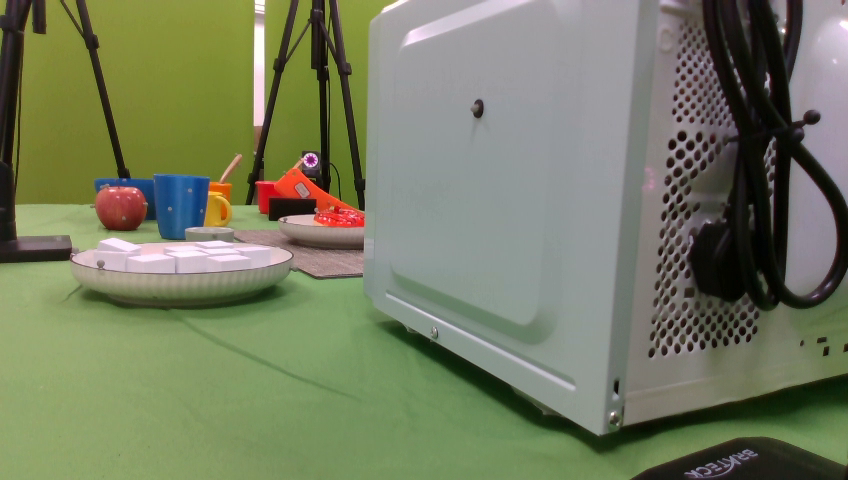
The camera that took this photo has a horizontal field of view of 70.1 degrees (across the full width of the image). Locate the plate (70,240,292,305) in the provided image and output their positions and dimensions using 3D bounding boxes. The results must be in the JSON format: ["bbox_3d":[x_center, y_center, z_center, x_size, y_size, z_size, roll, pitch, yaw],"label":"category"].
[{"bbox_3d":[-0.242,0.031,0.618,0.208,0.039,0.207,2,8,0],"label":"plate"}]

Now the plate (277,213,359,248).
[{"bbox_3d":[-0.135,-0.017,0.992,0.209,0.038,0.209,2,8,0],"label":"plate"}]

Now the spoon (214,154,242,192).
[{"bbox_3d":[-0.439,-0.124,1.318,0.041,0.193,0.022,6,-36,16],"label":"spoon"}]

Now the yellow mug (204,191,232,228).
[{"bbox_3d":[-0.415,-0.057,1.131,0.130,0.064,0.100,6,7,16],"label":"yellow mug"}]

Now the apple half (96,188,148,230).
[{"bbox_3d":[-0.517,-0.052,1.036,0.081,0.074,0.053,2,10,-26],"label":"apple half"}]

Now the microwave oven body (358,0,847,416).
[{"bbox_3d":[0.211,-0.047,0.474,0.444,0.260,0.324,-1,8,-28],"label":"microwave oven body"}]

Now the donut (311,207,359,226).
[{"bbox_3d":[-0.137,-0.029,0.995,0.099,0.048,0.099,4,9,0],"label":"donut"}]

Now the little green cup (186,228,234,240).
[{"bbox_3d":[-0.285,0.005,0.805,0.061,0.038,0.061,2,8,0],"label":"little green cup"}]

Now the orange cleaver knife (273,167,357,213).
[{"bbox_3d":[-0.238,-0.091,1.381,0.212,0.077,0.012,31,0,-19],"label":"orange cleaver knife"}]

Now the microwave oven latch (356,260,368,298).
[{"bbox_3d":[-0.020,0.033,0.530,0.079,0.029,0.030,0,7,-26],"label":"microwave oven latch"}]

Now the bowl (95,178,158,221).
[{"bbox_3d":[-0.576,-0.081,1.217,0.151,0.077,0.151,3,8,0],"label":"bowl"}]

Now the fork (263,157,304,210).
[{"bbox_3d":[-0.345,-0.143,1.505,0.028,0.019,0.207,-3,47,28],"label":"fork"}]

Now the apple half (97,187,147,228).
[{"bbox_3d":[-0.534,-0.059,1.070,0.082,0.081,0.032,-1,11,-25],"label":"apple half"}]

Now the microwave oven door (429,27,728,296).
[{"bbox_3d":[0.177,-0.073,0.629,0.358,0.243,0.039,-1,8,-26],"label":"microwave oven door"}]

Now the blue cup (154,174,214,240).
[{"bbox_3d":[-0.391,-0.053,0.977,0.093,0.100,0.092,4,6,0],"label":"blue cup"}]
